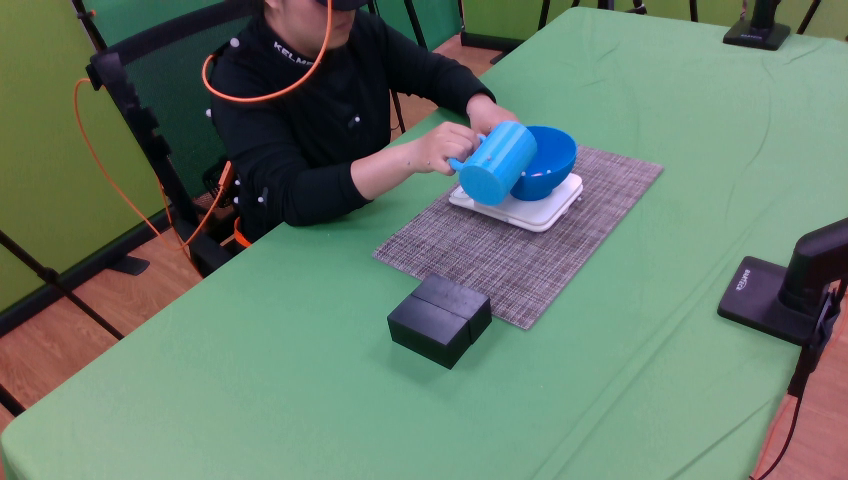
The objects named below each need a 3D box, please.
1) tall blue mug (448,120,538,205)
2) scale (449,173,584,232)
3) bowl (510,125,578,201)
[{"bbox_3d":[0.097,-0.123,0.888,0.107,0.077,0.108,37,59,0],"label":"tall blue mug"},{"bbox_3d":[0.157,-0.085,1.040,0.199,0.032,0.149,22,49,33],"label":"scale"},{"bbox_3d":[0.176,-0.117,0.991,0.151,0.077,0.150,-6,41,5],"label":"bowl"}]
